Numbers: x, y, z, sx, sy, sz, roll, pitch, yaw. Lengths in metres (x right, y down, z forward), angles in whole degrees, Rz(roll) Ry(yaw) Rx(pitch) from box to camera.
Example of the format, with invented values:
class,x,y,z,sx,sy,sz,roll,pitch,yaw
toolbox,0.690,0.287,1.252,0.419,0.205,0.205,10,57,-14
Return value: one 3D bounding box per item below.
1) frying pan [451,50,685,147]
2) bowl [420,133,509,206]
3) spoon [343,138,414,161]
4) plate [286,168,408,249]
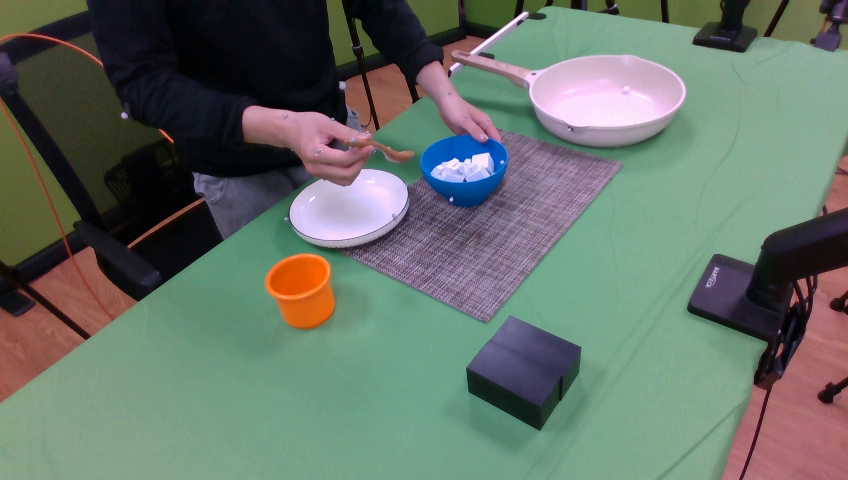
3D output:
class,x,y,z,sx,sy,sz,roll,pitch,yaw
frying pan,0.269,-0.316,1.233,0.485,0.103,0.307,26,49,21
bowl,0.071,-0.112,1.038,0.151,0.077,0.150,-4,41,4
spoon,-0.064,-0.127,0.832,0.041,0.021,0.195,1,0,22
plate,-0.127,-0.051,1.029,0.207,0.039,0.206,-5,39,5
